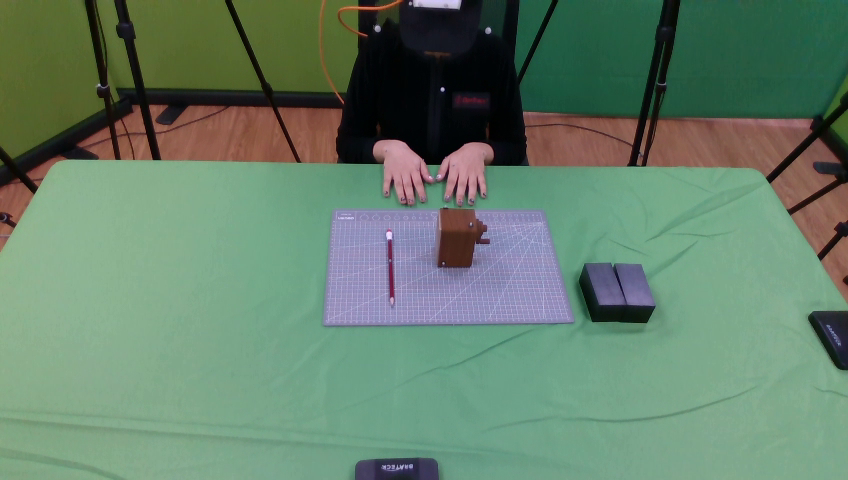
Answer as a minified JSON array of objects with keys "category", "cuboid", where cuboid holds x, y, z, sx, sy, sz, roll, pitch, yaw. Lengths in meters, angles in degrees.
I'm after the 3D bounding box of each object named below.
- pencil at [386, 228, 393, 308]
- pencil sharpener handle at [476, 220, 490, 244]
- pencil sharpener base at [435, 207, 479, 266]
[{"category":"pencil","cuboid":[-0.065,0.050,1.152,0.012,0.012,0.193,-1,48,-4]},{"category":"pencil sharpener handle","cuboid":[0.113,-0.014,1.140,0.031,0.068,0.036,1,56,-3]},{"category":"pencil sharpener base","cuboid":[0.061,-0.004,1.144,0.077,0.107,0.061,1,46,-4]}]
